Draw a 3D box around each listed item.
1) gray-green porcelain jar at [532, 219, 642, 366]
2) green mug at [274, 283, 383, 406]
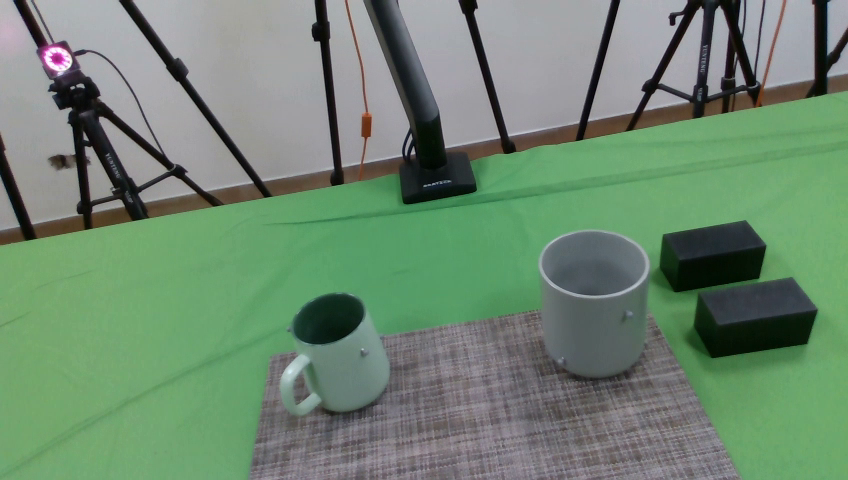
[{"bbox_3d":[0.168,0.058,0.628,0.106,0.128,0.105,-7,38,6],"label":"gray-green porcelain jar"},{"bbox_3d":[-0.105,0.119,0.637,0.092,0.106,0.125,18,46,32],"label":"green mug"}]
